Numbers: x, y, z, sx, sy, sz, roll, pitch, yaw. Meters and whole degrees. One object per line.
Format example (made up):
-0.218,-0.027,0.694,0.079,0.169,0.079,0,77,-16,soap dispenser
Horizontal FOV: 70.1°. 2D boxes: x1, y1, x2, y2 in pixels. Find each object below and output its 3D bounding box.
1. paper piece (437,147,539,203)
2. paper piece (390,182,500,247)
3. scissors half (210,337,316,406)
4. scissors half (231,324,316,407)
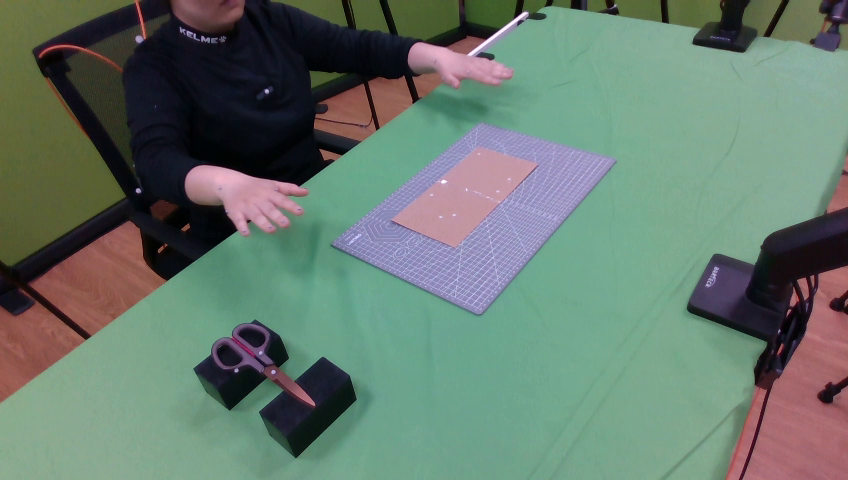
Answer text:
0.117,-0.122,1.104,0.135,0.009,0.138,25,49,29,paper piece
0.037,-0.048,1.027,0.134,0.004,0.136,24,48,30,paper piece
-0.198,0.162,0.736,0.174,0.013,0.040,20,41,25,scissors half
-0.185,0.153,0.748,0.040,0.013,0.173,-32,48,-28,scissors half
